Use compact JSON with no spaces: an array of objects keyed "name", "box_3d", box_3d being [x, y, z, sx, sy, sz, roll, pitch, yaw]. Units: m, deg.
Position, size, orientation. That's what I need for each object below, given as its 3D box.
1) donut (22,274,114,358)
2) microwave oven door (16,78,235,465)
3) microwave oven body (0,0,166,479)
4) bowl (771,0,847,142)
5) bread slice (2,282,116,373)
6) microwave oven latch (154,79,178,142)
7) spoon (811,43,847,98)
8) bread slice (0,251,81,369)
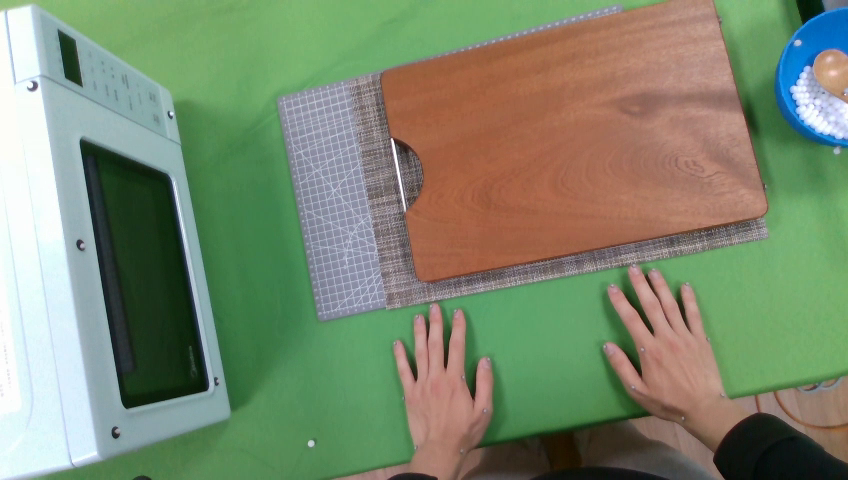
[{"name":"donut","box_3d":[-0.410,0.087,0.698,0.099,0.048,0.099,-1,97,-4]},{"name":"microwave oven door","box_3d":[-0.308,0.035,0.650,0.039,0.245,0.354,-15,82,7]},{"name":"microwave oven body","box_3d":[-0.457,0.033,0.678,0.326,0.261,0.440,-15,82,6]},{"name":"bowl","box_3d":[0.447,-0.171,0.656,0.151,0.077,0.151,-1,84,9]},{"name":"bread slice","box_3d":[-0.439,0.102,0.724,0.131,0.019,0.104,4,87,5]},{"name":"microwave oven latch","box_3d":[-0.341,-0.164,0.779,0.030,0.029,0.079,-15,83,6]},{"name":"spoon","box_3d":[0.454,-0.128,0.620,0.041,0.022,0.192,-14,59,5]},{"name":"bread slice","box_3d":[-0.430,0.085,0.654,0.134,0.018,0.106,-22,82,19]}]
